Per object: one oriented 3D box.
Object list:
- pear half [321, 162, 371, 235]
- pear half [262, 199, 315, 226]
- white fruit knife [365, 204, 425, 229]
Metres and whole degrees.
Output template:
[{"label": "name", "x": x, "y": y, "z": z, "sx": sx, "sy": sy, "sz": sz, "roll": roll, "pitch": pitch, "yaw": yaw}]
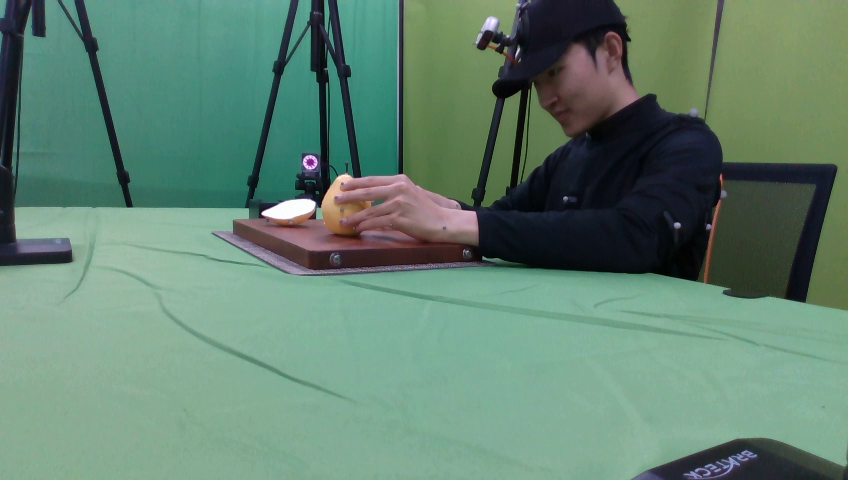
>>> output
[{"label": "pear half", "x": -0.109, "y": -0.061, "z": 0.898, "sx": 0.055, "sy": 0.110, "sz": 0.077, "roll": 9, "pitch": 15, "yaw": 38}, {"label": "pear half", "x": -0.223, "y": -0.041, "z": 1.008, "sx": 0.088, "sy": 0.031, "sz": 0.070, "roll": -12, "pitch": 22, "yaw": 2}, {"label": "white fruit knife", "x": -0.074, "y": -0.036, "z": 1.002, "sx": 0.016, "sy": 0.027, "sz": 0.208, "roll": 1, "pitch": 11, "yaw": 44}]
